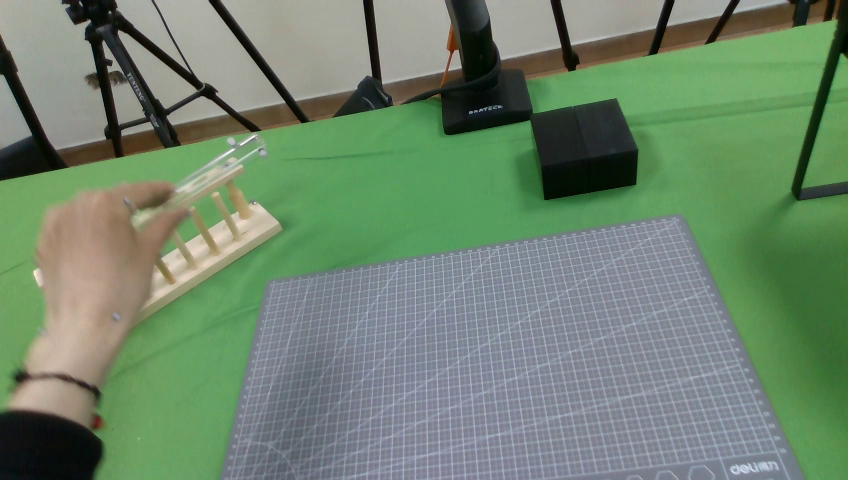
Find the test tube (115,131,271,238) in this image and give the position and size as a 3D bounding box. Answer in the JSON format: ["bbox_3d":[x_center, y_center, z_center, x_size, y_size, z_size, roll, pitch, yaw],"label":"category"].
[{"bbox_3d":[-0.193,-0.045,0.504,0.150,0.017,0.017,-32,44,3],"label":"test tube"}]

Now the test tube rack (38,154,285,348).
[{"bbox_3d":[-0.290,0.008,0.691,0.242,0.086,0.066,-36,47,-19],"label":"test tube rack"}]
